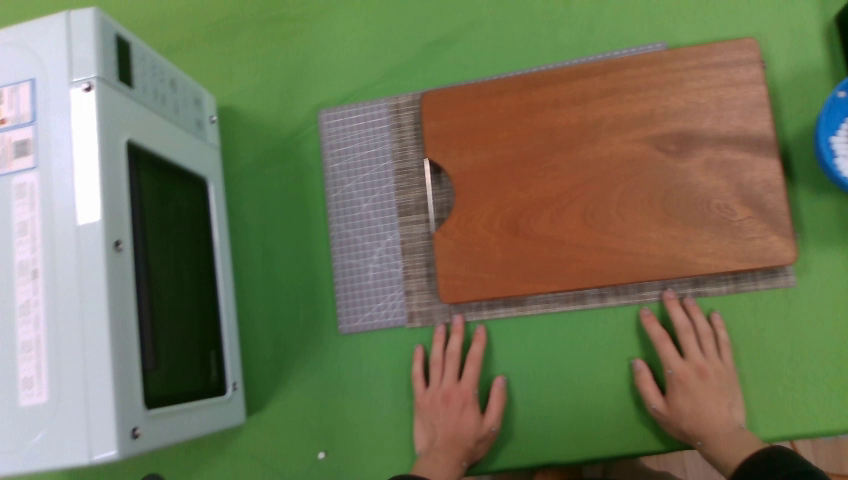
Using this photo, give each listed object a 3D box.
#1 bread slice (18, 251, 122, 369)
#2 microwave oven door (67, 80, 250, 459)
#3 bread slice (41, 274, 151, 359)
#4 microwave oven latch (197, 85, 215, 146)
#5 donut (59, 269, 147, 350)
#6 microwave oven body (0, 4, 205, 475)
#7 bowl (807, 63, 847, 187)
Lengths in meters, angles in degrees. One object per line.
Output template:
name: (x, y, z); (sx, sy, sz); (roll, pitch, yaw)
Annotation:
bread slice: (-0.396, 0.087, 0.671); (0.134, 0.018, 0.106); (-25, 81, 20)
microwave oven door: (-0.282, 0.036, 0.667); (0.039, 0.245, 0.354); (-11, 81, 9)
bread slice: (-0.408, 0.095, 0.752); (0.131, 0.019, 0.105); (1, 89, 1)
microwave oven latch: (-0.297, -0.163, 0.800); (0.030, 0.029, 0.079); (-11, 81, 8)
donut: (-0.380, 0.082, 0.718); (0.099, 0.048, 0.099); (0, 99, -3)
microwave oven body: (-0.430, 0.024, 0.700); (0.326, 0.261, 0.440); (-11, 81, 8)
bowl: (0.485, -0.114, 0.652); (0.151, 0.077, 0.151); (-1, 83, 10)
